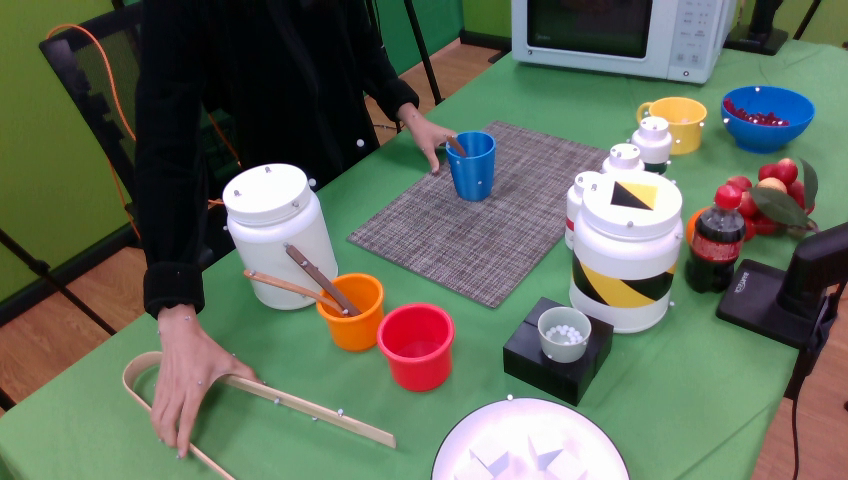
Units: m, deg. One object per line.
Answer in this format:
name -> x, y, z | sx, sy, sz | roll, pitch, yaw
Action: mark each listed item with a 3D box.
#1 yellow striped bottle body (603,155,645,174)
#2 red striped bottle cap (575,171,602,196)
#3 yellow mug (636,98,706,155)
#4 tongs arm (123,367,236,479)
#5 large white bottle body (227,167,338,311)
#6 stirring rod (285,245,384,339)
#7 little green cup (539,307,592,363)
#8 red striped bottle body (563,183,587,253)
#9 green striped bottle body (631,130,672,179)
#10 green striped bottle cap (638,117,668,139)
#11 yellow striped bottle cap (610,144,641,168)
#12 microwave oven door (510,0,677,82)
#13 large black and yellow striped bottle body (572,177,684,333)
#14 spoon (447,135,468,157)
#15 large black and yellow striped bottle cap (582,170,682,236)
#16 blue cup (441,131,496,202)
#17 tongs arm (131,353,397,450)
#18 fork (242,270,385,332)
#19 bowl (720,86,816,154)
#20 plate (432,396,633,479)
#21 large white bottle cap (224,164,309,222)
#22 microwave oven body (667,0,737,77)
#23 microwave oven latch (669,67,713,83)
yellow striped bottle body -> 0.313, -0.089, 0.956 | 0.063, 0.121, 0.062 | -4, 39, 4
red striped bottle cap -> 0.242, -0.081, 0.876 | 0.044, 0.018, 0.044 | -5, 44, 5
yellow mug -> 0.453, -0.218, 1.129 | 0.100, 0.064, 0.129 | -34, 46, -26
tongs arm -> -0.249, 0.248, 0.710 | 0.384, 0.028, 0.028 | 23, 55, 31
large white bottle body -> -0.207, -0.002, 0.884 | 0.130, 0.185, 0.130 | -4, 40, 4
stirring rod -> -0.121, 0.071, 0.819 | 0.176, 0.006, 0.014 | 44, 53, -6
little green cup -> 0.168, 0.115, 0.721 | 0.061, 0.039, 0.061 | -4, 42, 4
red striped bottle body -> 0.246, -0.041, 0.910 | 0.063, 0.120, 0.062 | -2, 38, 2
green striped bottle body -> 0.375, -0.140, 1.007 | 0.063, 0.120, 0.063 | -5, 41, 5
green striped bottle cap -> 0.369, -0.180, 0.974 | 0.044, 0.020, 0.044 | -4, 41, 4
yellow striped bottle cap -> 0.307, -0.128, 0.923 | 0.044, 0.019, 0.044 | -5, 40, 5
microwave oven door -> 0.352, -0.477, 1.289 | 0.353, 0.245, 0.039 | 15, 44, 25
large black and yellow striped bottle body -> 0.262, 0.017, 0.788 | 0.131, 0.185, 0.130 | -5, 40, 4
spoon -> 0.067, -0.132, 0.993 | 0.041, 0.195, 0.021 | 6, 74, 21
large black and yellow striped bottle cap -> 0.252, -0.048, 0.735 | 0.115, 0.019, 0.114 | -3, 40, 3
blue cup -> 0.084, -0.122, 1.041 | 0.092, 0.100, 0.092 | -4, 41, 4
tongs arm -> -0.213, 0.204, 0.755 | 0.382, 0.026, 0.051 | 14, 48, 24
fork -> -0.142, 0.082, 0.802 | 0.209, 0.018, 0.028 | 28, 38, -26
bowl -> 0.605, -0.206, 1.082 | 0.151, 0.077, 0.150 | -5, 40, 5
plate -> 0.112, 0.261, 0.634 | 0.209, 0.038, 0.208 | -5, 40, 4
large white bottle cap -> -0.215, -0.066, 0.829 | 0.115, 0.018, 0.114 | -4, 40, 4
microwave oven body -> 0.462, -0.552, 1.368 | 0.439, 0.261, 0.326 | 15, 45, 26
microwave oven latch -> 0.556, -0.349, 1.261 | 0.078, 0.029, 0.030 | 16, 46, 27
